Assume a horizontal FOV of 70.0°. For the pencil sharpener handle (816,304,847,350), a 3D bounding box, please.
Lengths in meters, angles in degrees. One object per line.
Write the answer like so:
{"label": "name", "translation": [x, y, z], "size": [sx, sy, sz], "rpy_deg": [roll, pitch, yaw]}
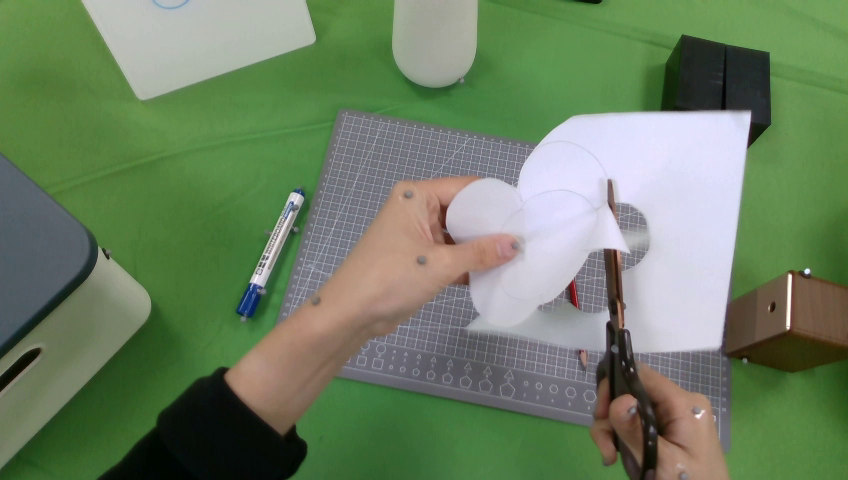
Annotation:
{"label": "pencil sharpener handle", "translation": [0.392, 0.083, 0.554], "size": [0.030, 0.068, 0.035], "rpy_deg": [15, 63, 1]}

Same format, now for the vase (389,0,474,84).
{"label": "vase", "translation": [0.009, -0.257, 0.637], "size": [0.098, 0.201, 0.097], "rpy_deg": [0, 67, 0]}

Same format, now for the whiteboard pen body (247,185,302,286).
{"label": "whiteboard pen body", "translation": [-0.157, 0.004, 0.625], "size": [0.017, 0.017, 0.140], "rpy_deg": [17, 67, 5]}

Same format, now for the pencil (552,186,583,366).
{"label": "pencil", "translation": [0.149, 0.034, 0.627], "size": [0.012, 0.012, 0.192], "rpy_deg": [-3, 70, -2]}

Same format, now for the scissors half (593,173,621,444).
{"label": "scissors half", "translation": [0.112, 0.046, 0.367], "size": [0.013, 0.039, 0.176], "rpy_deg": [-5, 111, 0]}

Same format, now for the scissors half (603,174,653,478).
{"label": "scissors half", "translation": [0.113, 0.049, 0.346], "size": [0.013, 0.040, 0.175], "rpy_deg": [-6, 88, -5]}

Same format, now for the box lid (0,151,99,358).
{"label": "box lid", "translation": [-0.464, -0.007, 0.462], "size": [0.370, 0.015, 0.262], "rpy_deg": [36, 71, 11]}

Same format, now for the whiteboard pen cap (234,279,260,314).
{"label": "whiteboard pen cap", "translation": [-0.174, 0.056, 0.602], "size": [0.018, 0.018, 0.033], "rpy_deg": [16, 64, 5]}

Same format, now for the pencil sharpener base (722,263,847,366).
{"label": "pencil sharpener base", "translation": [0.342, 0.074, 0.566], "size": [0.077, 0.107, 0.061], "rpy_deg": [15, 68, 1]}

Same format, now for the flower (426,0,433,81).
{"label": "flower", "translation": [0.006, -0.302, 0.565], "size": [0.044, 0.365, 0.038], "rpy_deg": [4, 51, 3]}

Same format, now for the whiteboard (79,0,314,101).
{"label": "whiteboard", "translation": [-0.274, -0.343, 0.636], "size": [0.217, 0.308, 0.142], "rpy_deg": [-22, 51, -10]}

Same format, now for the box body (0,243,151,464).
{"label": "box body", "translation": [-0.464, 0.022, 0.530], "size": [0.362, 0.161, 0.253], "rpy_deg": [36, 72, 11]}
